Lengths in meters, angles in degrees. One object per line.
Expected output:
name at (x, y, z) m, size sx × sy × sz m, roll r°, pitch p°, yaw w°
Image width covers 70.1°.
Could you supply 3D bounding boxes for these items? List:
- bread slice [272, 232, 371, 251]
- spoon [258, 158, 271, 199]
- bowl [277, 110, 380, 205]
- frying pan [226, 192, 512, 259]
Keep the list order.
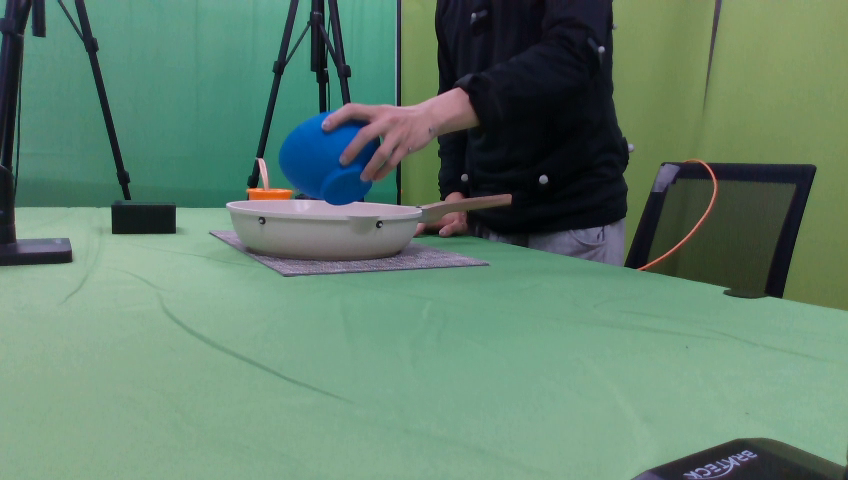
bread slice at (-0.148, 0.001, 0.929) m, size 0.133 × 0.018 × 0.107 m, roll 5°, pitch 7°, yaw 38°
spoon at (-0.332, -0.107, 1.269) m, size 0.042 × 0.021 × 0.193 m, roll 0°, pitch 52°, yaw -23°
bowl at (-0.123, -0.103, 0.856) m, size 0.152 × 0.076 × 0.151 m, roll -22°, pitch -26°, yaw -11°
frying pan at (-0.058, -0.041, 0.975) m, size 0.490 × 0.102 × 0.305 m, roll -11°, pitch 13°, yaw -26°
